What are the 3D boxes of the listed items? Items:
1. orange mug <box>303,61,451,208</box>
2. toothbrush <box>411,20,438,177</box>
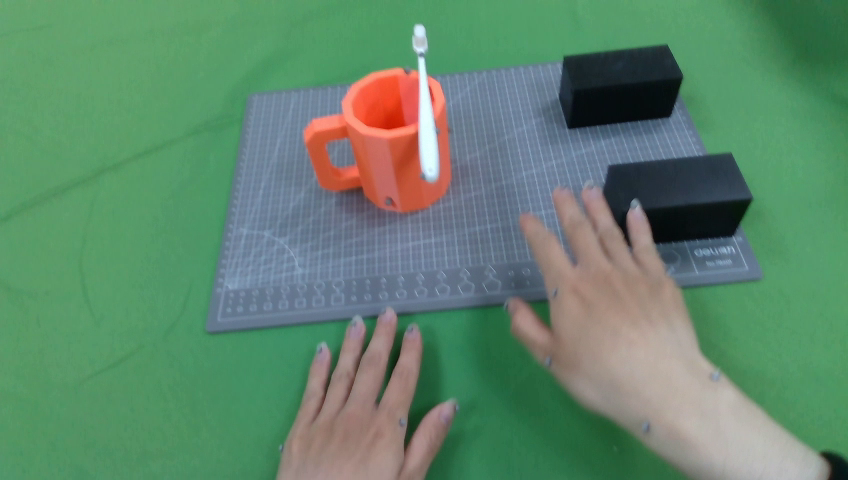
[{"bbox_3d":[-0.039,-0.089,0.535,0.126,0.102,0.082,-10,54,-6],"label":"orange mug"},{"bbox_3d":[0.000,-0.120,0.489,0.014,0.017,0.180,2,53,-7],"label":"toothbrush"}]
